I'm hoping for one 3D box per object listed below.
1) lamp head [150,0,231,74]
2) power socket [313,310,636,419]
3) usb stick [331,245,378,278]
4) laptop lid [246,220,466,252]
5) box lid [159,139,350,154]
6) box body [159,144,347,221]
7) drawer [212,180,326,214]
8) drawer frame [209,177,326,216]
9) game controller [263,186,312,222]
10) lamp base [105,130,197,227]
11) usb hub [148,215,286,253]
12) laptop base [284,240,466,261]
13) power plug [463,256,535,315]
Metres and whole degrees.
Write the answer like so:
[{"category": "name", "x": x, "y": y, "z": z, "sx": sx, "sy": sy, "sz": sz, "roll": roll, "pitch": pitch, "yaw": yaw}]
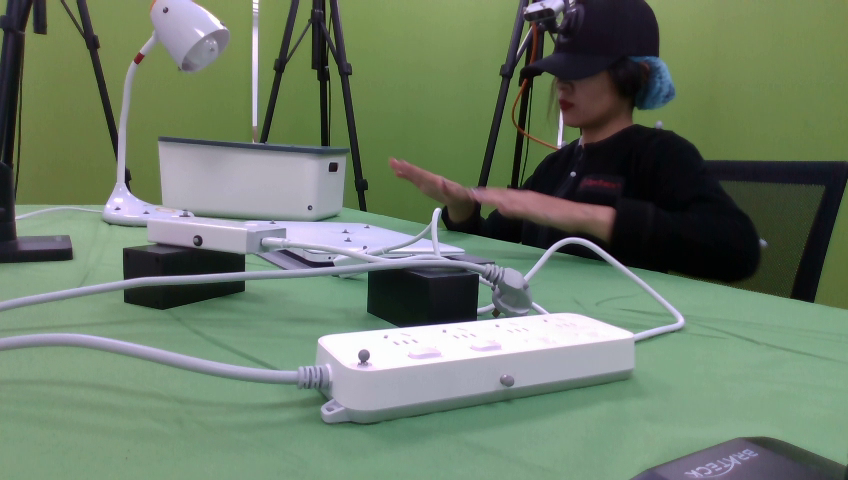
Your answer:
[{"category": "lamp head", "x": -0.432, "y": -0.374, "z": 1.086, "sx": 0.123, "sy": 0.112, "sz": 0.112, "roll": 42, "pitch": 8, "yaw": -3}, {"category": "power socket", "x": 0.039, "y": 0.072, "z": 0.385, "sx": 0.228, "sy": 0.032, "sz": 0.072, "roll": -2, "pitch": 7, "yaw": -28}, {"category": "usb stick", "x": -0.085, "y": 0.026, "z": 0.701, "sx": 0.059, "sy": 0.027, "sz": 0.021, "roll": -18, "pitch": 20, "yaw": 27}, {"category": "laptop lid", "x": -0.123, "y": -0.009, "z": 0.945, "sx": 0.243, "sy": 0.013, "sz": 0.355, "roll": 1, "pitch": 7, "yaw": -29}, {"category": "box lid", "x": -0.373, "y": -0.214, "z": 1.388, "sx": 0.371, "sy": 0.015, "sz": 0.263, "roll": 4, "pitch": 9, "yaw": 7}, {"category": "box body", "x": -0.384, "y": -0.137, "z": 1.406, "sx": 0.364, "sy": 0.160, "sz": 0.254, "roll": 3, "pitch": 8, "yaw": 8}, {"category": "drawer", "x": -0.349, "y": -0.103, "z": 1.395, "sx": 0.212, "sy": 0.073, "sz": 0.194, "roll": 2, "pitch": 6, "yaw": 4}, {"category": "drawer frame", "x": -0.351, "y": -0.103, "z": 1.393, "sx": 0.213, "sy": 0.082, "sz": 0.201, "roll": 1, "pitch": 7, "yaw": 3}, {"category": "game controller", "x": -0.308, "y": -0.089, "z": 1.397, "sx": 0.097, "sy": 0.051, "sz": 0.155, "roll": 31, "pitch": 6, "yaw": -3}, {"category": "lamp base", "x": -0.532, "y": -0.120, "z": 1.153, "sx": 0.179, "sy": 0.180, "sz": 0.161, "roll": 1, "pitch": 7, "yaw": 8}, {"category": "usb hub", "x": -0.197, "y": -0.006, "z": 0.575, "sx": 0.125, "sy": 0.025, "sz": 0.050, "roll": 6, "pitch": 6, "yaw": 22}, {"category": "laptop base", "x": -0.125, "y": 0.002, "z": 0.945, "sx": 0.237, "sy": 0.023, "sz": 0.352, "roll": 2, "pitch": 6, "yaw": -31}, {"category": "power plug", "x": 0.064, "y": 0.039, "z": 0.530, "sx": 0.072, "sy": 0.052, "sz": 0.035, "roll": 31, "pitch": 43, "yaw": 7}]
